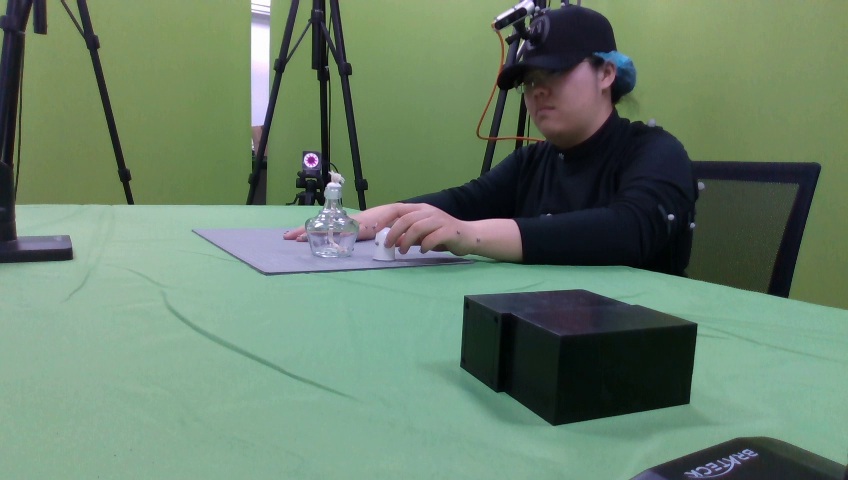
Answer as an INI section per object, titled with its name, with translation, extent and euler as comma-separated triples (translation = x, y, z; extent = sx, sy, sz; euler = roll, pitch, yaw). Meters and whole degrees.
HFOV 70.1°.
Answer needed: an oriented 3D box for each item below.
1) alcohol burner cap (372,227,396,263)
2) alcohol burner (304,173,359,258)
[alcohol burner cap]
translation = -0.055, 0.006, 0.835
extent = 0.034, 0.048, 0.034
euler = 4, 6, 0
[alcohol burner]
translation = -0.130, -0.034, 0.851
extent = 0.078, 0.119, 0.078
euler = 2, 5, 0
